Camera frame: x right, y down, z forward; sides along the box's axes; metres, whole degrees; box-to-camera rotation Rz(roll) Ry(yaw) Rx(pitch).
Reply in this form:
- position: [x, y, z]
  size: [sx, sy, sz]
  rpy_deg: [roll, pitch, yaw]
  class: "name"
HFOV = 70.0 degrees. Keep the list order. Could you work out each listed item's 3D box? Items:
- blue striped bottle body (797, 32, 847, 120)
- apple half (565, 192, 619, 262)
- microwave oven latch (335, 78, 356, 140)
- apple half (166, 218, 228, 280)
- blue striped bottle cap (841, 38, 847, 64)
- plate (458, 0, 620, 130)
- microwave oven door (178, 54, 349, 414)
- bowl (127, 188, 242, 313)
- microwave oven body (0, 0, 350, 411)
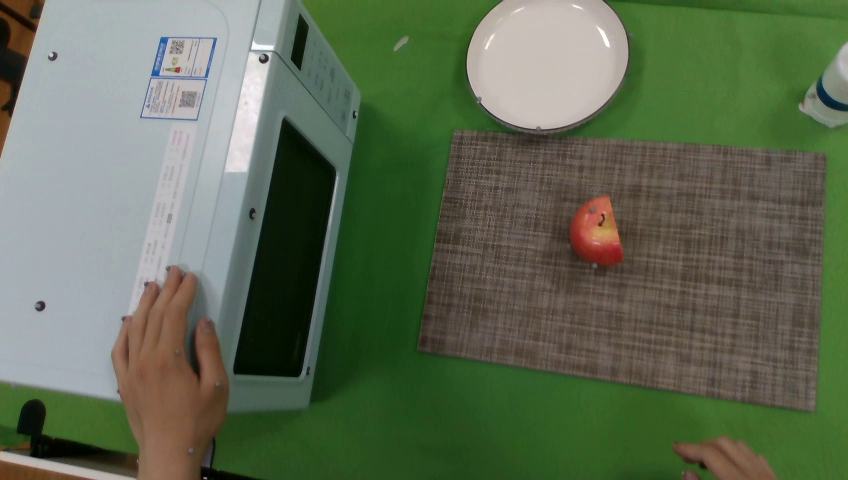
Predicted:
- position: [0.469, -0.186, 0.670]
  size: [0.063, 0.121, 0.063]
  rpy_deg: [-3, 76, 12]
  class: "blue striped bottle body"
- position: [0.194, -0.011, 0.712]
  size: [0.053, 0.075, 0.080]
  rpy_deg: [-14, 78, 13]
  class: "apple half"
- position: [-0.112, -0.178, 0.822]
  size: [0.030, 0.030, 0.079]
  rpy_deg: [5, 79, 13]
  class: "microwave oven latch"
- position: [-0.283, 0.013, 0.745]
  size: [0.081, 0.033, 0.081]
  rpy_deg: [0, 90, 6]
  class: "apple half"
- position: [0.458, -0.199, 0.622]
  size: [0.044, 0.021, 0.044]
  rpy_deg: [-3, 79, 13]
  class: "blue striped bottle cap"
- position: [0.149, -0.238, 0.798]
  size: [0.207, 0.039, 0.206]
  rpy_deg: [-3, 77, 12]
  class: "plate"
- position: [-0.164, 0.010, 0.683]
  size: [0.039, 0.245, 0.354]
  rpy_deg: [4, 78, 14]
  class: "microwave oven door"
- position: [-0.282, 0.015, 0.755]
  size: [0.151, 0.077, 0.151]
  rpy_deg: [-2, 85, 19]
  class: "bowl"
- position: [-0.299, -0.040, 0.730]
  size: [0.325, 0.262, 0.440]
  rpy_deg: [5, 79, 13]
  class: "microwave oven body"
